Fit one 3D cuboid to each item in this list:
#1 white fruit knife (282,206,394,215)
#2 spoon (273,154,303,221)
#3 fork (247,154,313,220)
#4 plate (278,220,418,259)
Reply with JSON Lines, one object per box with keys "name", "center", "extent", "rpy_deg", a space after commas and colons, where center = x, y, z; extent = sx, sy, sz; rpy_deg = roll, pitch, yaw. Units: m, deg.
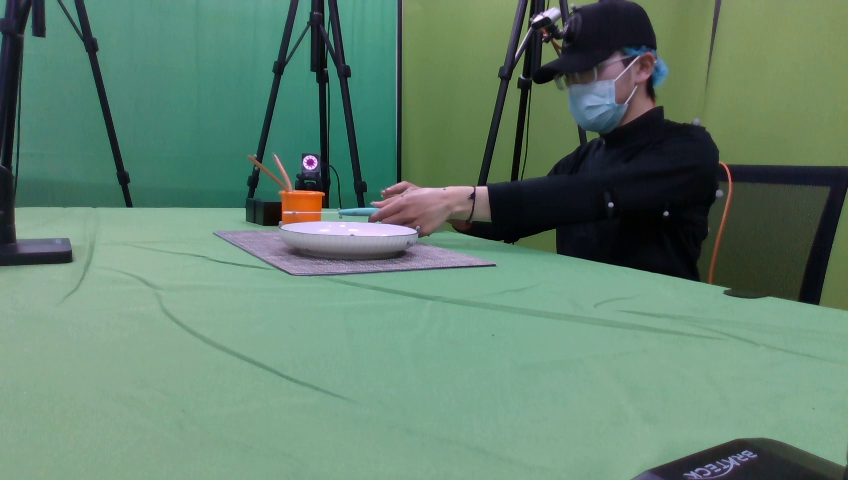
{"name": "white fruit knife", "center": [-0.147, -0.050, 1.073], "extent": [0.208, 0.016, 0.027], "rpy_deg": [-3, 0, -23]}
{"name": "spoon", "center": [-0.280, -0.107, 1.247], "extent": [0.021, 0.193, 0.042], "rpy_deg": [-28, -29, 9]}
{"name": "fork", "center": [-0.275, -0.096, 1.188], "extent": [0.028, 0.018, 0.208], "rpy_deg": [28, -20, 49]}
{"name": "plate", "center": [-0.114, -0.002, 0.914], "extent": [0.209, 0.038, 0.209], "rpy_deg": [2, 7, 0]}
